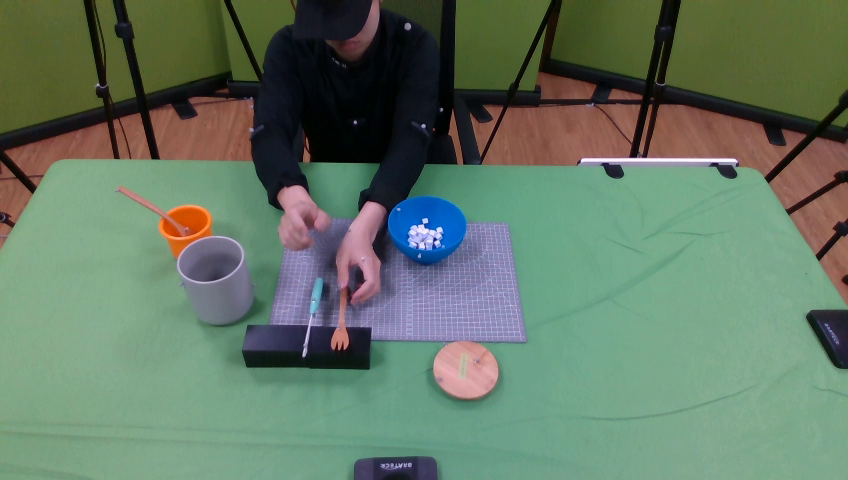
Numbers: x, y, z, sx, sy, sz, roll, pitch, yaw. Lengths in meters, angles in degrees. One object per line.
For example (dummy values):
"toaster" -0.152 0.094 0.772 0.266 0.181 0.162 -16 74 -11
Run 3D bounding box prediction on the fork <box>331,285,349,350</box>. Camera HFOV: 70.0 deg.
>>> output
"fork" -0.139 0.127 1.021 0.028 0.019 0.206 -11 28 1

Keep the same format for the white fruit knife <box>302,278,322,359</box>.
"white fruit knife" -0.190 0.126 1.020 0.016 0.027 0.206 1 33 -3

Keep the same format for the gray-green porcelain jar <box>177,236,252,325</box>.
"gray-green porcelain jar" -0.350 0.073 1.027 0.106 0.127 0.105 3 46 -2

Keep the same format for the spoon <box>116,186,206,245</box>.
"spoon" -0.474 -0.041 1.112 0.021 0.195 0.041 -31 31 29

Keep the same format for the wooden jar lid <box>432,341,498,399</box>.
"wooden jar lid" 0.067 0.216 0.997 0.108 0.021 0.107 1 46 -1

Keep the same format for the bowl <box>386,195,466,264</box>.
"bowl" 0.003 -0.007 1.162 0.151 0.077 0.150 2 46 -2
